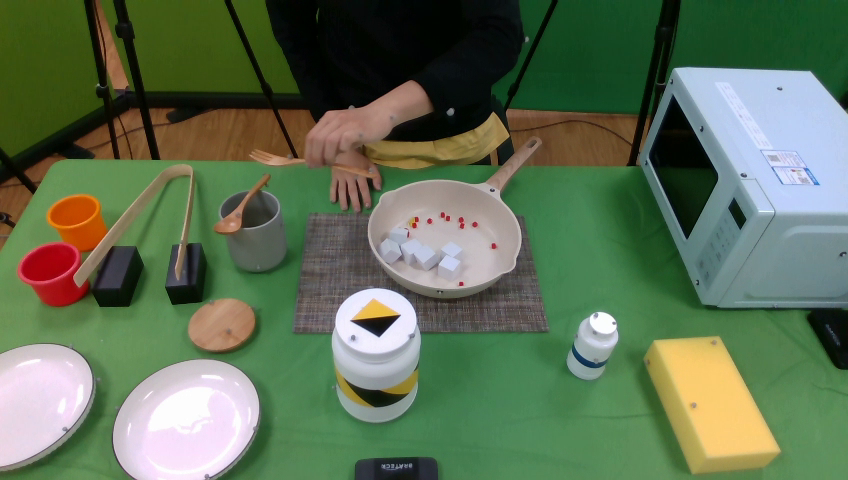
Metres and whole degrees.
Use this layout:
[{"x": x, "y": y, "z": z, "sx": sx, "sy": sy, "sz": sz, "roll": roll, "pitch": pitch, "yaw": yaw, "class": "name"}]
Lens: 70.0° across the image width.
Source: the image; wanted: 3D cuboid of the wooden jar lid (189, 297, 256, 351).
[{"x": -0.342, "y": 0.145, "z": 1.033, "sx": 0.108, "sy": 0.021, "sz": 0.107, "roll": 2, "pitch": 45, "yaw": -2, "class": "wooden jar lid"}]

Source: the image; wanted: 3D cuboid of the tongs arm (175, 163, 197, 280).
[{"x": -0.462, "y": -0.049, "z": 1.149, "sx": 0.051, "sy": 0.026, "sz": 0.382, "roll": -8, "pitch": 36, "yaw": -7, "class": "tongs arm"}]

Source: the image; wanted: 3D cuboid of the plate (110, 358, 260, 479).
[{"x": -0.349, "y": 0.273, "z": 0.899, "sx": 0.208, "sy": 0.039, "sz": 0.206, "roll": 2, "pitch": 46, "yaw": -2, "class": "plate"}]

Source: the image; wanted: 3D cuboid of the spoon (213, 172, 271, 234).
[{"x": -0.312, "y": -0.069, "z": 1.069, "sx": 0.041, "sy": 0.022, "sz": 0.193, "roll": 8, "pitch": 43, "yaw": 12, "class": "spoon"}]

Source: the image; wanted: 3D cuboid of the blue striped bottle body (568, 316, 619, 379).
[{"x": 0.276, "y": 0.169, "z": 0.984, "sx": 0.063, "sy": 0.121, "sz": 0.062, "roll": 2, "pitch": 46, "yaw": -2, "class": "blue striped bottle body"}]

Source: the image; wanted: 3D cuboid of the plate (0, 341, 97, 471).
[{"x": -0.599, "y": 0.247, "z": 0.904, "sx": 0.209, "sy": 0.038, "sz": 0.208, "roll": 2, "pitch": 47, "yaw": -2, "class": "plate"}]

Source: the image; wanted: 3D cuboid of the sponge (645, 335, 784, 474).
[{"x": 0.449, "y": 0.253, "z": 0.956, "sx": 0.118, "sy": 0.061, "sz": 0.205, "roll": -4, "pitch": 46, "yaw": -7, "class": "sponge"}]

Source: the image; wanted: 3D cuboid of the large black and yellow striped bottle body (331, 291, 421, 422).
[{"x": -0.071, "y": 0.175, "z": 0.911, "sx": 0.131, "sy": 0.185, "sz": 0.130, "roll": 2, "pitch": 47, "yaw": -2, "class": "large black and yellow striped bottle body"}]

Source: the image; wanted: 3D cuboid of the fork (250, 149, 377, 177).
[{"x": -0.166, "y": -0.113, "z": 0.900, "sx": 0.207, "sy": 0.019, "sz": 0.028, "roll": 9, "pitch": 36, "yaw": 18, "class": "fork"}]

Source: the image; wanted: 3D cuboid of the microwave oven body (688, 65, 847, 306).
[{"x": 0.669, "y": -0.111, "z": 1.176, "sx": 0.326, "sy": 0.261, "sz": 0.439, "roll": 0, "pitch": 46, "yaw": -3, "class": "microwave oven body"}]

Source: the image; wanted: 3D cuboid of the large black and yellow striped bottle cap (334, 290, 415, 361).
[{"x": -0.069, "y": 0.117, "z": 0.850, "sx": 0.115, "sy": 0.019, "sz": 0.114, "roll": 2, "pitch": 45, "yaw": -2, "class": "large black and yellow striped bottle cap"}]

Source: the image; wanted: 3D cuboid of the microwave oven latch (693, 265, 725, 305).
[{"x": 0.523, "y": 0.081, "z": 1.115, "sx": 0.030, "sy": 0.029, "sz": 0.078, "roll": 2, "pitch": 46, "yaw": -1, "class": "microwave oven latch"}]

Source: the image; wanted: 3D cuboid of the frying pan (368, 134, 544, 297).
[{"x": 0.104, "y": -0.069, "z": 1.205, "sx": 0.305, "sy": 0.103, "sz": 0.487, "roll": 32, "pitch": 61, "yaw": 23, "class": "frying pan"}]

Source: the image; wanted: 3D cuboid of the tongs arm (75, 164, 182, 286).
[{"x": -0.547, "y": -0.043, "z": 1.143, "sx": 0.028, "sy": 0.028, "sz": 0.385, "roll": -3, "pitch": 34, "yaw": 7, "class": "tongs arm"}]

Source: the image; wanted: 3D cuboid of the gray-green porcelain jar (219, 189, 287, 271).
[{"x": -0.309, "y": -0.014, "z": 1.113, "sx": 0.106, "sy": 0.127, "sz": 0.105, "roll": 2, "pitch": 46, "yaw": -2, "class": "gray-green porcelain jar"}]

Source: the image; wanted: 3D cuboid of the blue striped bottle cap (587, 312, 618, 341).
[{"x": 0.279, "y": 0.134, "z": 0.947, "sx": 0.044, "sy": 0.021, "sz": 0.044, "roll": 2, "pitch": 45, "yaw": -2, "class": "blue striped bottle cap"}]

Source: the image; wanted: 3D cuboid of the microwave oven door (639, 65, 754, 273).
[{"x": 0.522, "y": -0.147, "z": 1.193, "sx": 0.039, "sy": 0.245, "sz": 0.353, "roll": 0, "pitch": 47, "yaw": -3, "class": "microwave oven door"}]
